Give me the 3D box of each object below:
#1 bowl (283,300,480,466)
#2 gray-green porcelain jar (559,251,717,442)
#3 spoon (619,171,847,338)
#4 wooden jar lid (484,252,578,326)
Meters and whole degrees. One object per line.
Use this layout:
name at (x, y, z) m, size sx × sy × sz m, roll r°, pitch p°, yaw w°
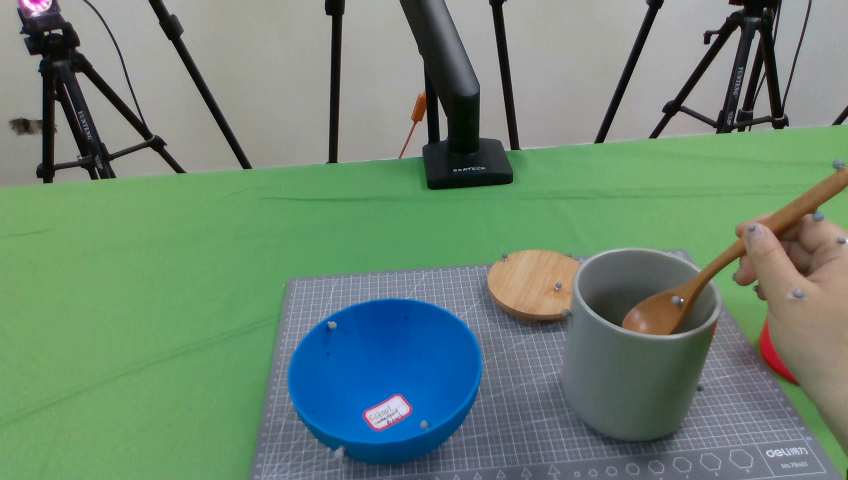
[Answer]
bowl at (-0.031, 0.126, 0.487) m, size 0.151 × 0.077 × 0.150 m, roll -2°, pitch 36°, yaw 2°
gray-green porcelain jar at (0.164, 0.089, 0.484) m, size 0.106 × 0.127 × 0.105 m, roll -2°, pitch 36°, yaw 2°
spoon at (0.201, 0.020, 0.414) m, size 0.022 × 0.194 × 0.041 m, roll 20°, pitch 46°, yaw -13°
wooden jar lid at (0.117, 0.052, 0.633) m, size 0.108 × 0.021 × 0.107 m, roll -2°, pitch 34°, yaw 2°
